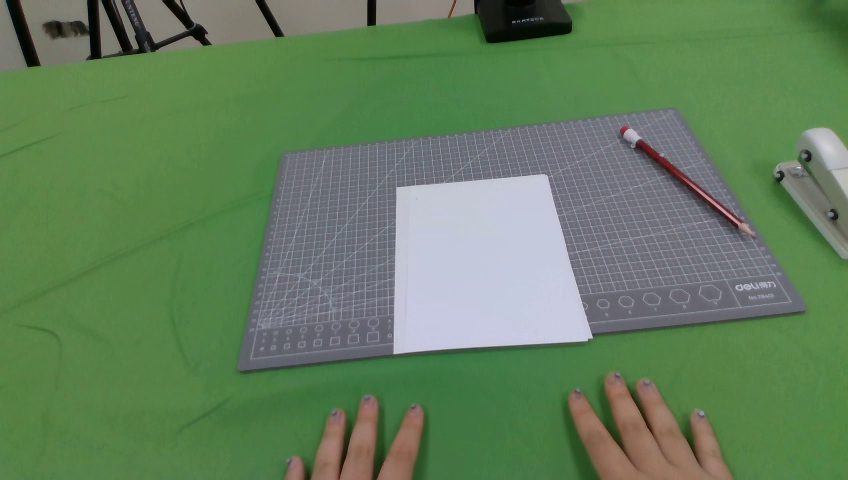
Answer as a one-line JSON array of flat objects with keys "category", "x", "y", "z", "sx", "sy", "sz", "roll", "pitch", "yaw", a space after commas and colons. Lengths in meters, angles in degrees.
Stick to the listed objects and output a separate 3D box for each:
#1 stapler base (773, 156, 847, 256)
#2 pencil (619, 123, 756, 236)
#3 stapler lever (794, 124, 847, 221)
[{"category": "stapler base", "x": 0.364, "y": -0.040, "z": 0.544, "sx": 0.041, "sy": 0.025, "sz": 0.129, "roll": -10, "pitch": 46, "yaw": 2}, {"category": "pencil", "x": 0.250, "y": -0.063, "z": 0.587, "sx": 0.012, "sy": 0.012, "sz": 0.191, "roll": -20, "pitch": 46, "yaw": -12}, {"category": "stapler lever", "x": 0.362, "y": -0.056, "z": 0.526, "sx": 0.027, "sy": 0.040, "sz": 0.117, "roll": -10, "pitch": 45, "yaw": 2}]
